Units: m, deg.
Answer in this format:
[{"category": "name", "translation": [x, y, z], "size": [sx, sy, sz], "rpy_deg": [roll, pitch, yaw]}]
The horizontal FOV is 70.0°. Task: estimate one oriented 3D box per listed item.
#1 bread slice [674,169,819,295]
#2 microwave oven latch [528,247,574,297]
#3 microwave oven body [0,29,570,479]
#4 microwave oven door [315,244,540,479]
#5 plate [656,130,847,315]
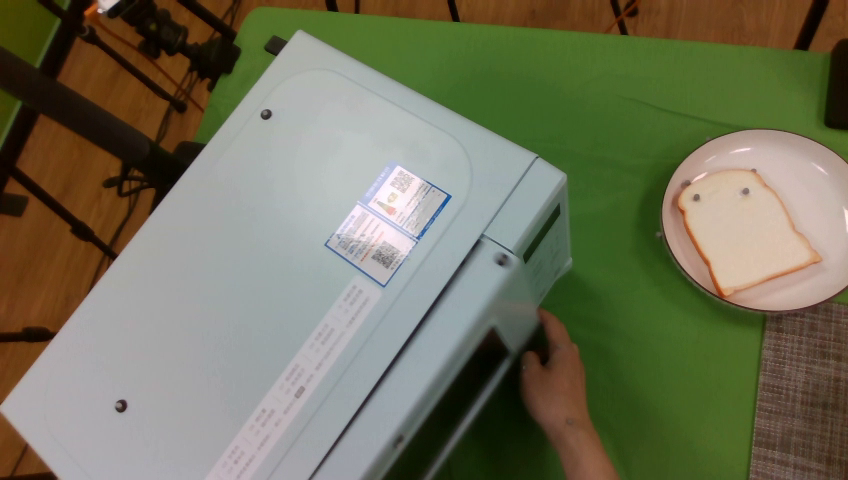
[{"category": "bread slice", "translation": [0.334, -0.013, 0.655], "size": [0.107, 0.018, 0.133], "rpy_deg": [-23, 66, 2]}, {"category": "microwave oven latch", "translation": [0.130, 0.034, 0.672], "size": [0.079, 0.030, 0.030], "rpy_deg": [-39, 67, -1]}, {"category": "microwave oven body", "translation": [-0.109, 0.078, 0.612], "size": [0.323, 0.262, 0.441], "rpy_deg": [33, 82, 22]}, {"category": "microwave oven door", "translation": [-0.019, 0.184, 0.546], "size": [0.039, 0.246, 0.355], "rpy_deg": [34, 82, 23]}, {"category": "plate", "translation": [0.358, -0.018, 0.652], "size": [0.207, 0.039, 0.206], "rpy_deg": [-4, 70, 13]}]
